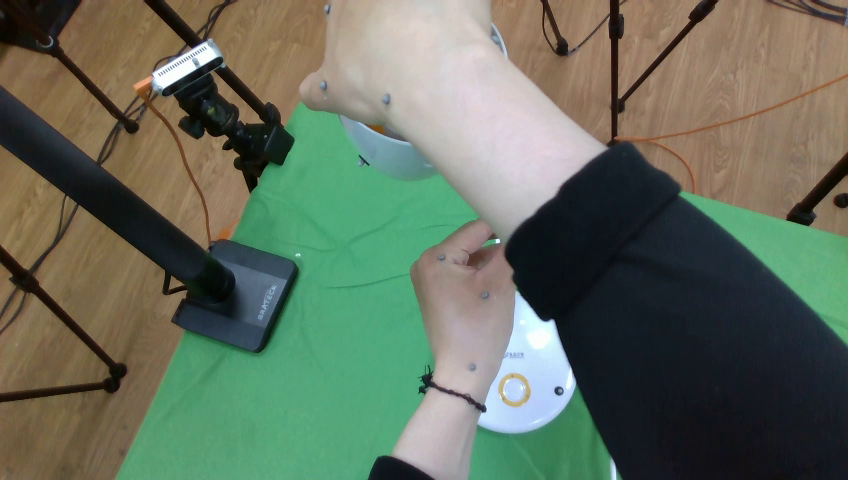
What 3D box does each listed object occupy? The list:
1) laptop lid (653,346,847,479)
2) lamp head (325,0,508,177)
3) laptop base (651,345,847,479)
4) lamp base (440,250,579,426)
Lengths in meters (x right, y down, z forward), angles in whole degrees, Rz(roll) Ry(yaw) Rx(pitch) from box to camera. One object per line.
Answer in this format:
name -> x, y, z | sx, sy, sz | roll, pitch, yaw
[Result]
laptop lid -> 0.424, 0.270, 0.637 | 0.356, 0.013, 0.240 | 17, 72, 8
lamp head -> -0.005, -0.091, 0.415 | 0.112, 0.123, 0.111 | 0, 70, -1
laptop base -> 0.425, 0.272, 0.649 | 0.353, 0.023, 0.234 | 16, 73, 8
lamp base -> 0.092, 0.095, 0.638 | 0.161, 0.181, 0.177 | -13, 67, -3
